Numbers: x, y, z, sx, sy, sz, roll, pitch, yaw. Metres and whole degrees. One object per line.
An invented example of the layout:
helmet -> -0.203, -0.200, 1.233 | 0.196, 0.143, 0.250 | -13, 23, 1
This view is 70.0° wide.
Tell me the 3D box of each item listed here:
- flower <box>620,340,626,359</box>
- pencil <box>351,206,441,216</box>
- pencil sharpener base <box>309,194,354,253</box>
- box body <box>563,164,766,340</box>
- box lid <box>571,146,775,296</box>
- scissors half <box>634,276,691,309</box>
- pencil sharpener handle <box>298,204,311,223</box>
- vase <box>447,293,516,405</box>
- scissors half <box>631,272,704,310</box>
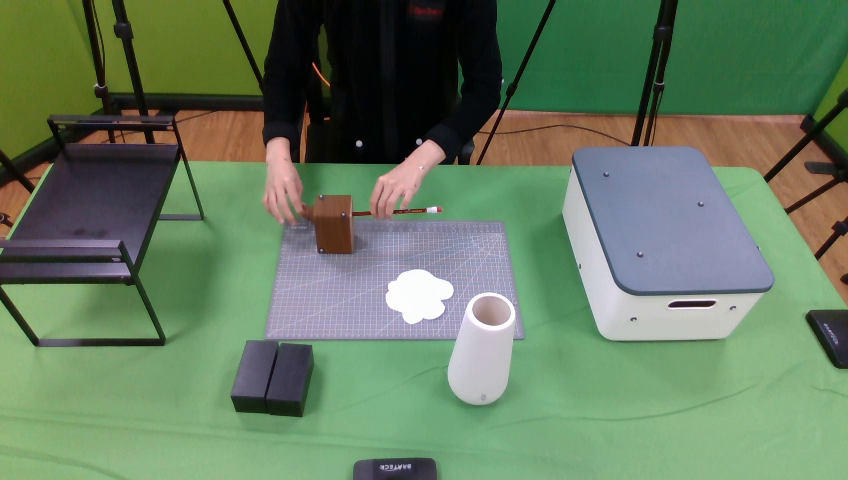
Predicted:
flower -> 0.416, 0.065, 1.186 | 0.038, 0.044, 0.360 | 29, 64, -20
pencil -> -0.064, -0.053, 1.139 | 0.194, 0.012, 0.012 | -4, 47, -5
pencil sharpener base -> -0.175, -0.030, 1.150 | 0.077, 0.107, 0.061 | 0, 47, -3
box body -> 0.421, 0.003, 1.130 | 0.254, 0.161, 0.361 | 0, 46, -5
box lid -> 0.424, -0.048, 1.074 | 0.263, 0.015, 0.369 | -1, 46, -4
scissors half -> 0.454, 0.096, 1.144 | 0.175, 0.040, 0.013 | -20, 89, -31
pencil sharpener handle -> -0.225, -0.054, 1.141 | 0.031, 0.036, 0.067 | 0, 16, -3
vase -> 0.091, 0.168, 0.921 | 0.098, 0.201, 0.097 | 3, 47, -3
scissors half -> 0.460, 0.092, 1.132 | 0.175, 0.040, 0.013 | -22, 83, -21
